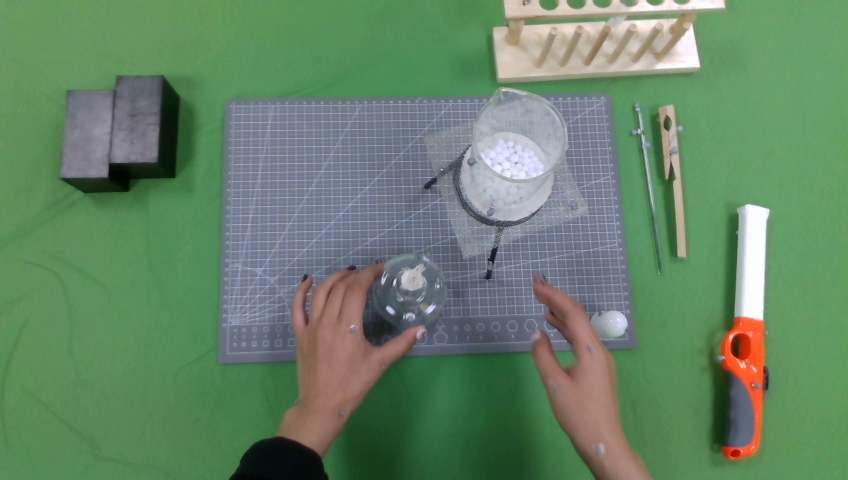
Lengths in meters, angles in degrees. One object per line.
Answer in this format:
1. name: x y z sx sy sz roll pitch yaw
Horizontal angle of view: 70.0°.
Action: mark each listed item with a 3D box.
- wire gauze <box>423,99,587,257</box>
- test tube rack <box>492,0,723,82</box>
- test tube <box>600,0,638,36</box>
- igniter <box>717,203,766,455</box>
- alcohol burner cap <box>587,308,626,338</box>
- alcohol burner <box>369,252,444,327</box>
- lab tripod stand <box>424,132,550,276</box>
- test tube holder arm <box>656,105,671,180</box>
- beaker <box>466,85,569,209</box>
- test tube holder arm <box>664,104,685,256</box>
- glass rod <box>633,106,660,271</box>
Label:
1. wire gauze: 0.073 -0.060 0.558 0.121 0.011 0.124 -18 81 -3
2. test tube rack: 0.206 -0.238 0.696 0.242 0.085 0.066 -4 78 -3
3. test tube: 0.226 -0.265 0.652 0.017 0.150 0.017 2 77 -8
4. igniter: 0.349 0.094 0.662 0.057 0.025 0.275 12 78 -10
5. alcohol burner cap: 0.197 0.086 0.647 0.034 0.048 0.033 1 78 -3
6. alcohol burner: -0.017 0.047 0.610 0.078 0.119 0.077 1 76 -2
7. lab tripod stand: 0.066 -0.045 0.622 0.148 0.132 0.147 0 79 0
8. test tube holder arm: 0.281 -0.114 0.708 0.010 0.015 0.087 -8 78 30
9. beaker: 0.072 -0.073 0.512 0.074 0.100 0.083 -16 78 -3
10. test tube holder arm: 0.287 -0.070 0.697 0.013 0.015 0.177 -8 78 30
11. glass rod: 0.256 -0.062 0.700 0.008 0.008 0.198 -3 78 -3
